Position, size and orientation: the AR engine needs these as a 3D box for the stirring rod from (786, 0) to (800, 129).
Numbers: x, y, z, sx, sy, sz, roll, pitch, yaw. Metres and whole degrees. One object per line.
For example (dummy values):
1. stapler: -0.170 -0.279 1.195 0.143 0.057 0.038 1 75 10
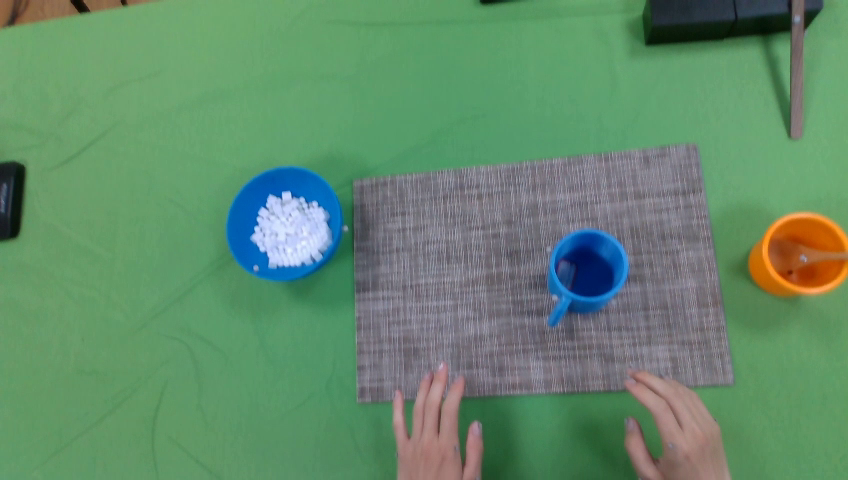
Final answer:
1. stirring rod: 0.451 -0.225 0.740 0.014 0.006 0.176 -3 97 6

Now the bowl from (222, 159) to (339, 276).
1. bowl: -0.175 -0.022 0.790 0.151 0.077 0.150 -2 78 9

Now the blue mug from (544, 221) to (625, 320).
1. blue mug: 0.173 0.044 0.702 0.082 0.106 0.116 33 85 15

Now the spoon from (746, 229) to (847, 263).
1. spoon: 0.445 0.009 0.647 0.022 0.192 0.041 24 78 -31
